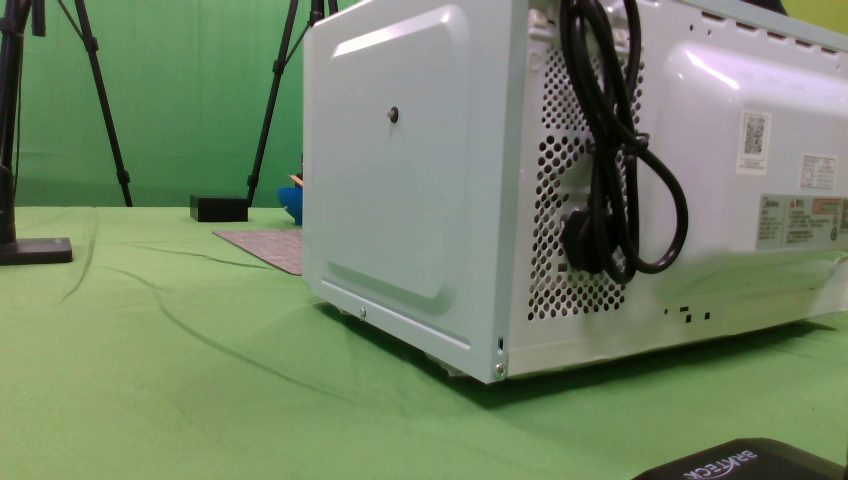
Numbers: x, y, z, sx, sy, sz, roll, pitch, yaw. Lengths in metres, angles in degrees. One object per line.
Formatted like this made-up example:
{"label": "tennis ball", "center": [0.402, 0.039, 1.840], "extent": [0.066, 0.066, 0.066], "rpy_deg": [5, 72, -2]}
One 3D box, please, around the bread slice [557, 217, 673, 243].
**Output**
{"label": "bread slice", "center": [0.185, -0.010, 0.581], "extent": [0.107, 0.018, 0.134], "rpy_deg": [-5, 0, 10]}

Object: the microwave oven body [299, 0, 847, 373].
{"label": "microwave oven body", "center": [0.152, -0.055, 0.542], "extent": [0.444, 0.260, 0.324], "rpy_deg": [-2, 7, -33]}

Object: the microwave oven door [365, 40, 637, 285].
{"label": "microwave oven door", "center": [0.105, -0.081, 0.693], "extent": [0.358, 0.243, 0.039], "rpy_deg": [-2, 9, -30]}

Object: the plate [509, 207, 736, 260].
{"label": "plate", "center": [0.187, -0.008, 0.588], "extent": [0.208, 0.039, 0.207], "rpy_deg": [1, 6, 0]}

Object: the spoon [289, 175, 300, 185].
{"label": "spoon", "center": [-0.261, -0.111, 1.343], "extent": [0.042, 0.021, 0.192], "rpy_deg": [-8, 33, -30]}

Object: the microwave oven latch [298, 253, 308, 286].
{"label": "microwave oven latch", "center": [-0.081, 0.028, 0.582], "extent": [0.079, 0.029, 0.030], "rpy_deg": [-2, 7, -32]}

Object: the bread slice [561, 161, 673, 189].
{"label": "bread slice", "center": [0.185, -0.062, 0.579], "extent": [0.104, 0.019, 0.132], "rpy_deg": [6, 5, 15]}

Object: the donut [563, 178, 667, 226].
{"label": "donut", "center": [0.185, -0.037, 0.587], "extent": [0.099, 0.048, 0.099], "rpy_deg": [-2, 4, 0]}

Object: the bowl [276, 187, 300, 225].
{"label": "bowl", "center": [-0.241, -0.073, 1.302], "extent": [0.151, 0.077, 0.151], "rpy_deg": [2, 7, 0]}
